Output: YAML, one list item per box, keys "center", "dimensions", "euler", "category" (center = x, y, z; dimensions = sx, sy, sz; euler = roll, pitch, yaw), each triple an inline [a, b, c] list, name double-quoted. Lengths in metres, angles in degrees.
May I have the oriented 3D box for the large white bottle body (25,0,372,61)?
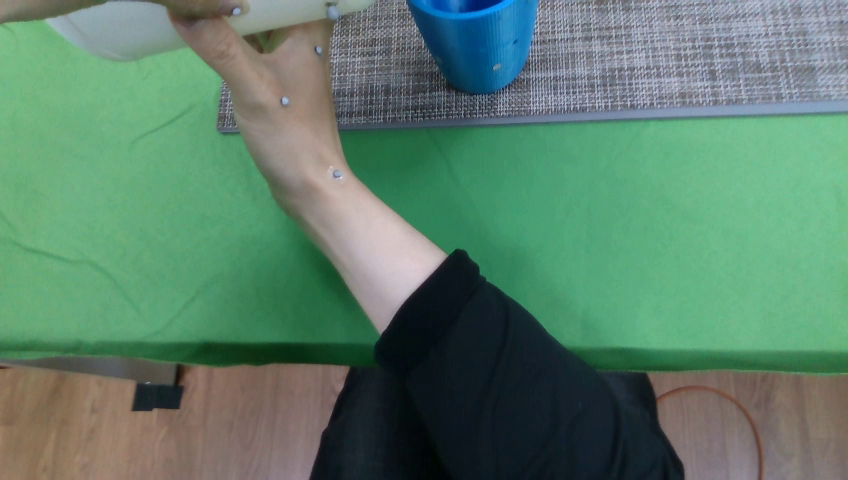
- center: [-0.093, -0.170, 0.292]
  dimensions: [0.184, 0.131, 0.129]
  euler: [-10, 72, 8]
  category: "large white bottle body"

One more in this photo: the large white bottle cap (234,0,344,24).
- center: [-0.103, -0.222, 0.471]
  dimensions: [0.115, 0.018, 0.114]
  euler: [-2, 74, 7]
  category: "large white bottle cap"

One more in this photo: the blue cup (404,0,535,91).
- center: [0.031, -0.146, 0.385]
  dimensions: [0.092, 0.101, 0.092]
  euler: [-3, 72, 9]
  category: "blue cup"
